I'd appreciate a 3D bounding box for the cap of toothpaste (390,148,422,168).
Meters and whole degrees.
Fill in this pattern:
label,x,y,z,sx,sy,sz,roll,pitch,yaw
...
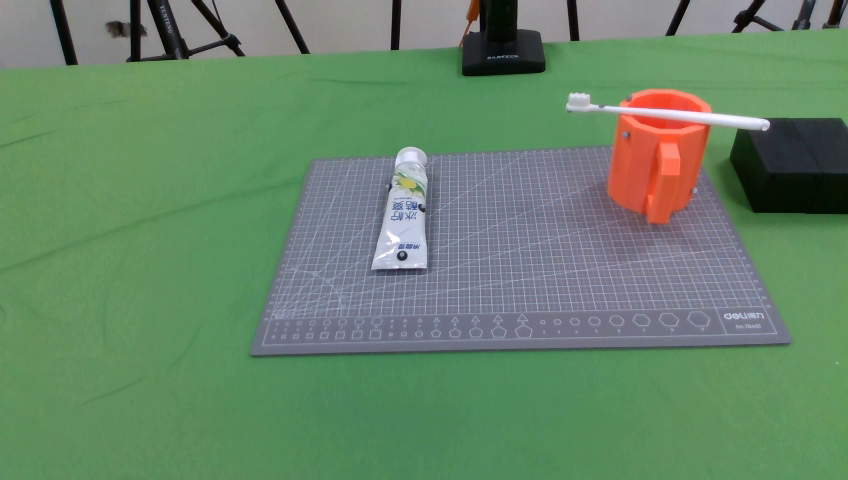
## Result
label,x,y,z,sx,sy,sz,roll,pitch,yaw
cap of toothpaste,-0.020,-0.089,0.684,0.037,0.038,0.011,0,48,6

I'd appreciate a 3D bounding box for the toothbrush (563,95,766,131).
label,x,y,z,sx,sy,sz,roll,pitch,yaw
toothbrush,0.222,-0.119,0.571,0.181,0.017,0.014,11,36,18

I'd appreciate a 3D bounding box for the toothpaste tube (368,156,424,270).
label,x,y,z,sx,sy,sz,roll,pitch,yaw
toothpaste tube,-0.025,-0.032,0.632,0.055,0.035,0.163,-5,46,7

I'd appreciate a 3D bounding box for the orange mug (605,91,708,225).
label,x,y,z,sx,sy,sz,roll,pitch,yaw
orange mug,0.230,-0.077,0.602,0.083,0.102,0.125,3,38,10
